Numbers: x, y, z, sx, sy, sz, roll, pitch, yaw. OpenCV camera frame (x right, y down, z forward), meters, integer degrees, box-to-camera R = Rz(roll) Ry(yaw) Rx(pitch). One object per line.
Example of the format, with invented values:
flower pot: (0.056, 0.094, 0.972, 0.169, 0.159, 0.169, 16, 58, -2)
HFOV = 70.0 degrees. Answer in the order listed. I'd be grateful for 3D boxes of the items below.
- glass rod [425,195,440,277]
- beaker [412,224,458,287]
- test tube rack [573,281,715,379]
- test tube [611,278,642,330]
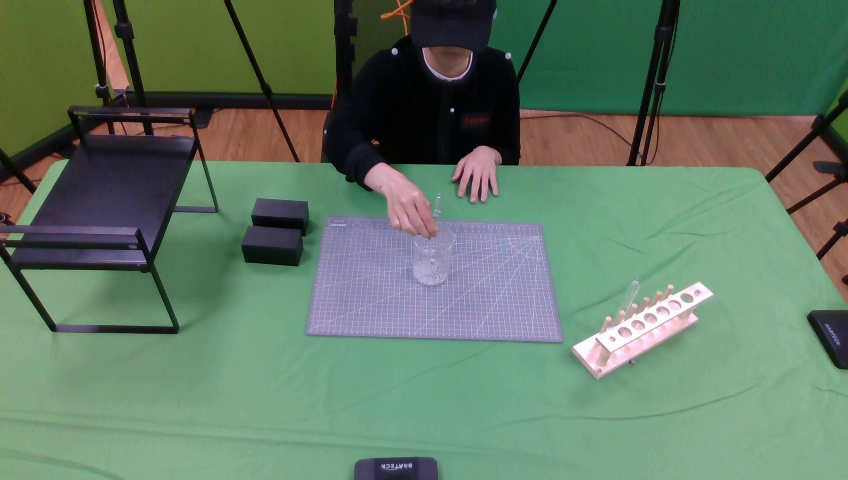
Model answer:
glass rod: (0.015, -0.003, 1.064, 0.008, 0.200, 0.008, 4, 44, -4)
beaker: (0.018, 0.030, 1.109, 0.084, 0.101, 0.073, -10, 48, -14)
test tube rack: (0.378, 0.140, 1.038, 0.242, 0.085, 0.066, -22, 51, -23)
test tube: (0.332, 0.113, 0.999, 0.017, 0.151, 0.017, 1, 48, -1)
